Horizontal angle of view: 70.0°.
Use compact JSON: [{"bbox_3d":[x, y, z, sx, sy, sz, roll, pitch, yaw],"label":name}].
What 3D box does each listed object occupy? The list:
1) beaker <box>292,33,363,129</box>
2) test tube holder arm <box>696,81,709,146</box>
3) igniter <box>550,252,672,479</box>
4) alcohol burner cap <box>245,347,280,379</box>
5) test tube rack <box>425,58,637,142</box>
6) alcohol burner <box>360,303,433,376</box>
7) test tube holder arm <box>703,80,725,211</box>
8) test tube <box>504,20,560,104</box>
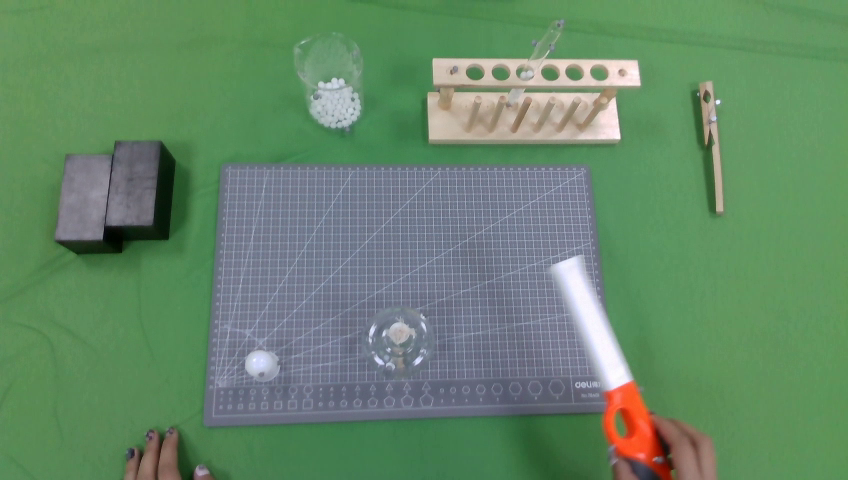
[{"bbox_3d":[-0.112,-0.184,0.713,0.084,0.101,0.073,27,73,5],"label":"beaker"},{"bbox_3d":[0.364,-0.165,0.790,0.010,0.015,0.087,-8,72,29],"label":"test tube holder arm"},{"bbox_3d":[0.183,0.146,0.573,0.057,0.025,0.275,-17,83,-22],"label":"igniter"},{"bbox_3d":[-0.173,0.129,0.643,0.034,0.048,0.033,1,73,-4],"label":"alcohol burner cap"},{"bbox_3d":[0.126,-0.168,0.735,0.243,0.085,0.066,-1,73,-5],"label":"test tube rack"},{"bbox_3d":[-0.027,0.100,0.626,0.078,0.119,0.077,2,71,-5],"label":"alcohol burner"},{"bbox_3d":[0.370,-0.122,0.775,0.013,0.015,0.177,-10,72,28],"label":"test tube holder arm"},{"bbox_3d":[0.119,-0.198,0.691,0.017,0.150,0.017,3,72,-10],"label":"test tube"}]
